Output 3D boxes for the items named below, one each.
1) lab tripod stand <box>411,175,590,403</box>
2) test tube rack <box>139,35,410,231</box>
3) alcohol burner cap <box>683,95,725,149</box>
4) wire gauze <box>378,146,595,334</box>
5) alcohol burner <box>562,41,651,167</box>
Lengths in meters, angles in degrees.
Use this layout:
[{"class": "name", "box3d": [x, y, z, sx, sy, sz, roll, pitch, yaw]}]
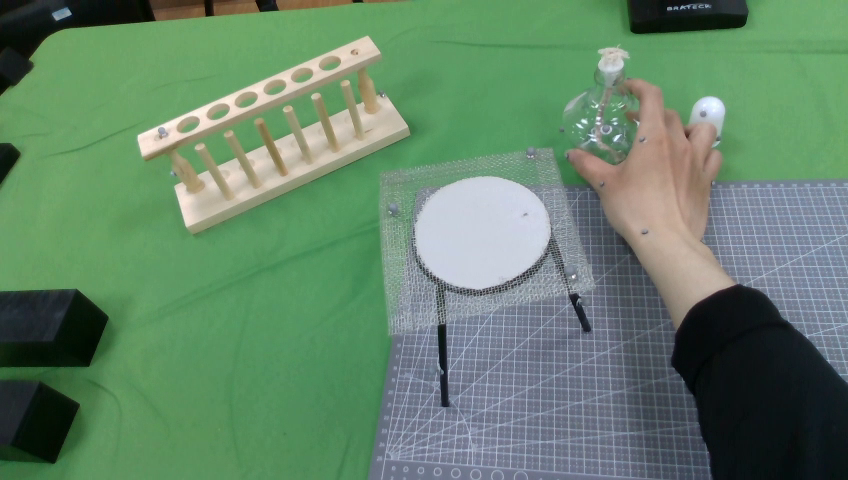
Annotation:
[{"class": "lab tripod stand", "box3d": [0.046, 0.033, 0.431, 0.148, 0.133, 0.147, -5, 56, 8]}, {"class": "test tube rack", "box3d": [-0.142, -0.107, 0.605, 0.242, 0.086, 0.066, -26, 54, -7]}, {"class": "alcohol burner cap", "box3d": [0.257, -0.110, 0.552, 0.034, 0.048, 0.033, -6, 54, 8]}, {"class": "wire gauze", "box3d": [0.032, -0.007, 0.378, 0.121, 0.011, 0.124, -10, 54, 5]}, {"class": "alcohol burner", "box3d": [0.162, -0.122, 0.536, 0.078, 0.120, 0.077, -6, 51, 8]}]
